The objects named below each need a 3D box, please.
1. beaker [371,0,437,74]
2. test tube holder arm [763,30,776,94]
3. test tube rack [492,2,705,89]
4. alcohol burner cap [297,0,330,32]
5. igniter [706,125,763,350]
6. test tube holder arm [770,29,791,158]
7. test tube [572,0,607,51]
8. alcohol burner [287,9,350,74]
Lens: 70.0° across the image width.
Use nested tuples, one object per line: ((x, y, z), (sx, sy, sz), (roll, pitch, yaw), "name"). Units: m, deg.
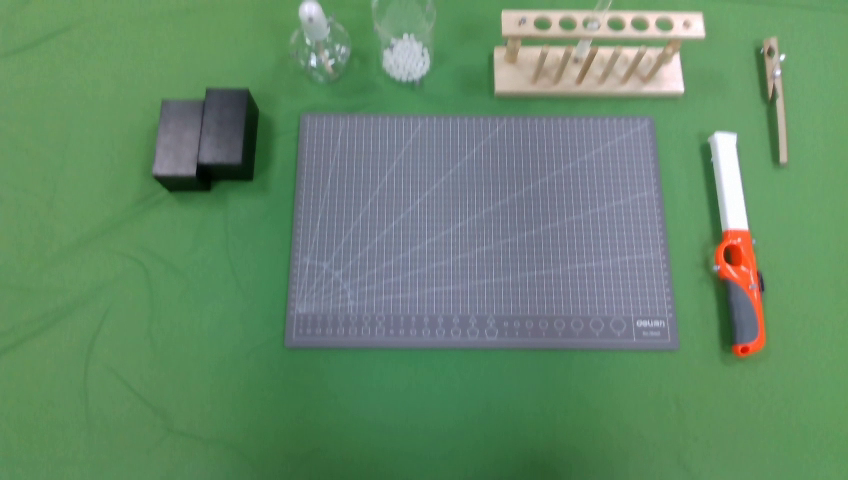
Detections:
((-0.027, -0.260, 0.748), (0.084, 0.101, 0.074), (28, 75, 8), "beaker")
((0.453, -0.233, 0.791), (0.010, 0.015, 0.087), (-7, 72, 33), "test tube holder arm")
((0.211, -0.240, 0.754), (0.242, 0.085, 0.066), (0, 74, -1), "test tube rack")
((-0.130, -0.268, 0.703), (0.034, 0.048, 0.033), (0, 80, 2), "alcohol burner cap")
((0.368, -0.008, 0.721), (0.057, 0.025, 0.275), (4, 74, -10), "igniter")
((0.456, -0.190, 0.777), (0.013, 0.015, 0.177), (-9, 71, 32), "test tube holder arm")
((0.201, -0.271, 0.711), (0.017, 0.151, 0.017), (1, 72, -4), "test tube")
((-0.131, -0.257, 0.738), (0.078, 0.120, 0.077), (0, 72, 0), "alcohol burner")
